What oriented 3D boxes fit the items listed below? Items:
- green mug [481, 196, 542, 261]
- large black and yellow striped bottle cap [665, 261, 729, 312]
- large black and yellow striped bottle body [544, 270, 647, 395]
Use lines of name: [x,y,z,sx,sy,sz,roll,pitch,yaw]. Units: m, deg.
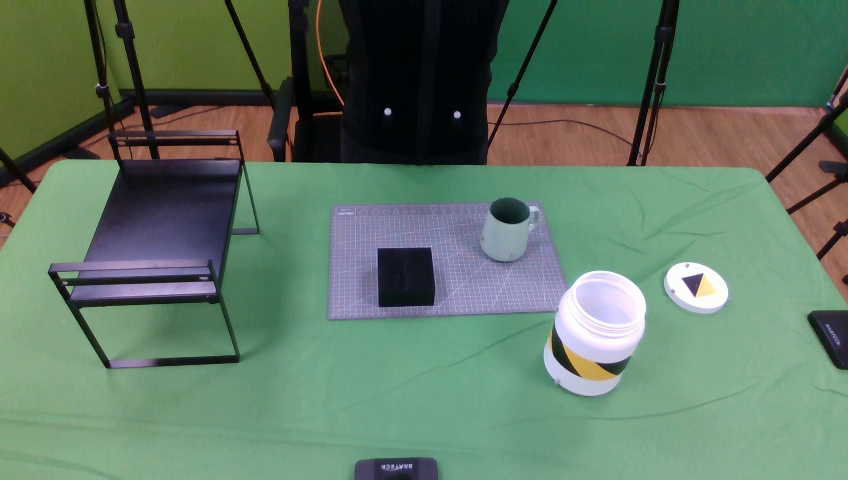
green mug: [0.174,-0.027,1.173,0.125,0.105,0.092,-22,51,-22]
large black and yellow striped bottle cap: [0.518,0.087,1.153,0.115,0.019,0.114,2,47,-2]
large black and yellow striped bottle body: [0.271,0.147,0.963,0.131,0.185,0.130,2,47,-2]
